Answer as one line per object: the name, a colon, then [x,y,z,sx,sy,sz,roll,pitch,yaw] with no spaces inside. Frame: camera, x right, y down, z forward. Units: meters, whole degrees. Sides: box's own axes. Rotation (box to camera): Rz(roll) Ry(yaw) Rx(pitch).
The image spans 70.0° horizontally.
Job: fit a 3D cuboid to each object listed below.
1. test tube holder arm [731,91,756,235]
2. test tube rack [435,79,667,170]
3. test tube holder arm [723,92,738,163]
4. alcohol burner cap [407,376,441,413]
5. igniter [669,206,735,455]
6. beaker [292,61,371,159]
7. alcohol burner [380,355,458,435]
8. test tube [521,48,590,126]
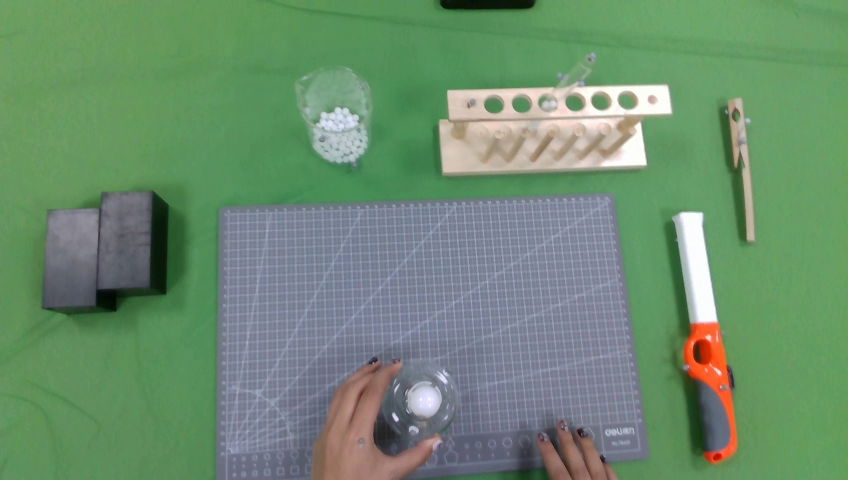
test tube holder arm: [0.383,-0.094,0.730,0.013,0.015,0.177,-10,77,28]
test tube rack: [0.139,-0.129,0.680,0.243,0.085,0.066,-3,78,-6]
test tube holder arm: [0.376,-0.138,0.741,0.010,0.015,0.087,-8,77,29]
alcohol burner cap: [0.000,0.142,0.554,0.034,0.048,0.033,0,81,0]
igniter: [0.311,0.096,0.679,0.057,0.025,0.275,0,78,-16]
beaker: [-0.098,-0.136,0.651,0.084,0.100,0.074,25,76,1]
alcohol burner: [-0.003,0.150,0.588,0.078,0.119,0.077,2,76,-6]
test tube: [0.133,-0.155,0.634,0.017,0.150,0.017,3,76,-12]
